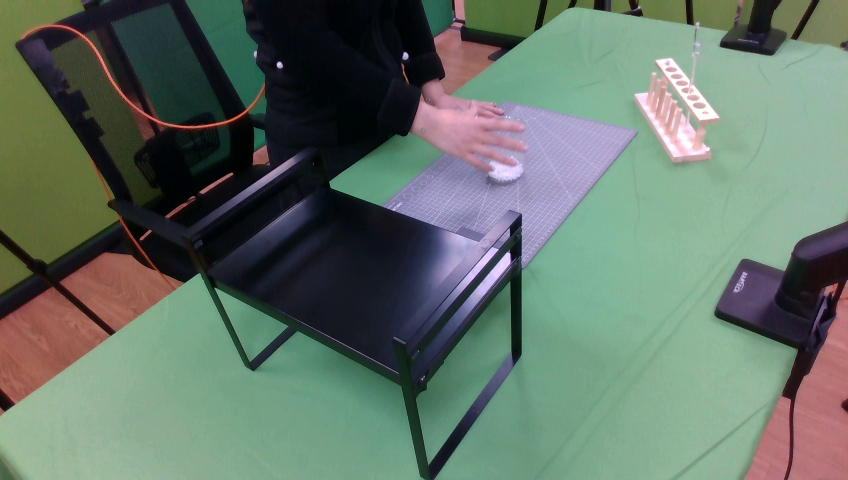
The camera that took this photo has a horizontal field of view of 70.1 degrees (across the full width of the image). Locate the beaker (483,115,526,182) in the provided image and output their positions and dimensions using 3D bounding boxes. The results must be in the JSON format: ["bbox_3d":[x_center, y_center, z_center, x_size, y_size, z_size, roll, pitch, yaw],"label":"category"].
[{"bbox_3d":[0.147,-0.162,1.080,0.073,0.101,0.084,13,44,22],"label":"beaker"}]

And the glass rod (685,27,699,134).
[{"bbox_3d":[0.478,-0.279,1.078,0.008,0.200,0.008,-7,35,5],"label":"glass rod"}]

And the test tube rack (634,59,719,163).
[{"bbox_3d":[0.471,-0.250,1.148,0.067,0.085,0.241,-6,40,3],"label":"test tube rack"}]
